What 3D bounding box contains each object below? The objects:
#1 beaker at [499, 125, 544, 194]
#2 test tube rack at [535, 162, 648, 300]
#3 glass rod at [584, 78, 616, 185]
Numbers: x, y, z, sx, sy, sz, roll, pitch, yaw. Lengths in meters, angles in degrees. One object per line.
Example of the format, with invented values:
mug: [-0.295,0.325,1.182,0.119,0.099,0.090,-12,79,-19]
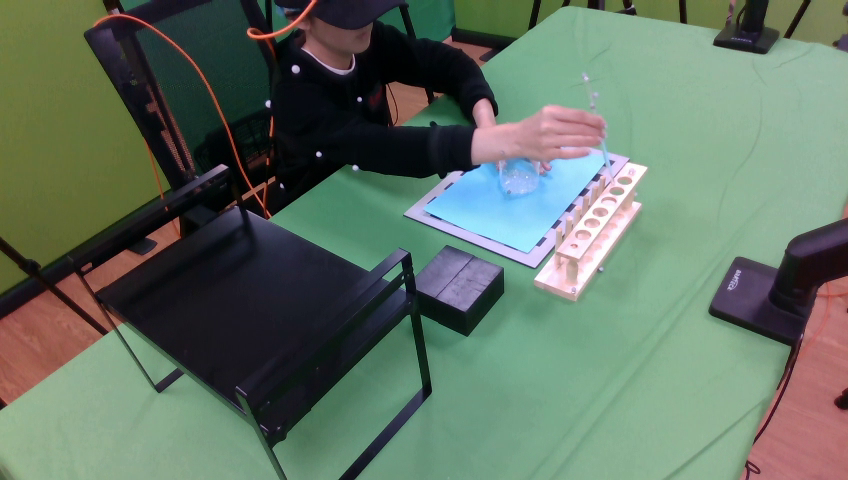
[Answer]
beaker: [0.168,-0.138,1.046,0.074,0.101,0.083,-8,40,0]
test tube rack: [0.257,-0.024,0.916,0.066,0.085,0.243,22,49,30]
glass rod: [0.246,-0.144,0.834,0.008,0.201,0.008,-16,47,18]
